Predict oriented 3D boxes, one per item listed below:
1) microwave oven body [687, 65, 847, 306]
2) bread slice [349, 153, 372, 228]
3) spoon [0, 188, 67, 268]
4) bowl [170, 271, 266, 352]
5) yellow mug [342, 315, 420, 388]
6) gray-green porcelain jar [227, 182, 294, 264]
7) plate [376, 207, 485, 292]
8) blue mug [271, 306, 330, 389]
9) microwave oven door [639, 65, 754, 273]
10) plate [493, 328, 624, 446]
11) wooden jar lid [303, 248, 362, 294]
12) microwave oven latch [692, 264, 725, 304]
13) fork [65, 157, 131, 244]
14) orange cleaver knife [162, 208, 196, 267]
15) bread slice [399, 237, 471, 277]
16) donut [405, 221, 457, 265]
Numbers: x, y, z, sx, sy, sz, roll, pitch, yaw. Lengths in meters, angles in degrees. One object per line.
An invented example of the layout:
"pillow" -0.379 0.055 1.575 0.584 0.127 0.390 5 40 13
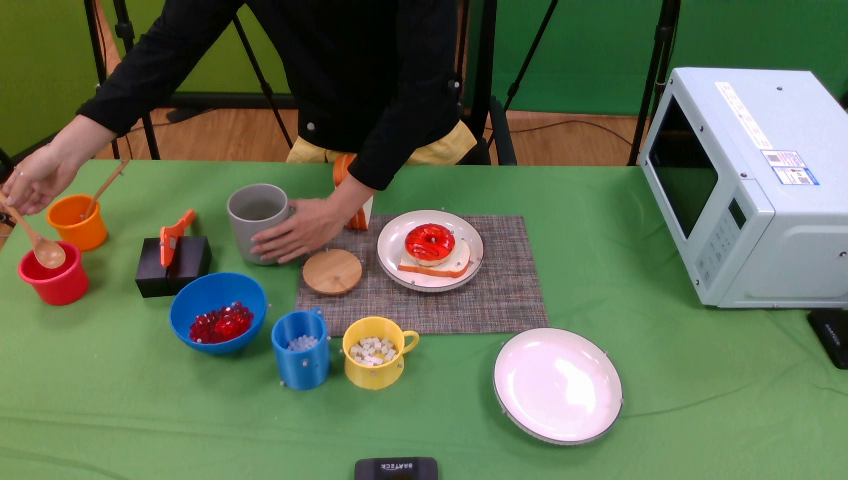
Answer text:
"microwave oven body" 0.669 -0.111 1.176 0.326 0.261 0.439 0 46 -3
"bread slice" -0.126 -0.104 1.207 0.018 0.135 0.106 1 48 6
"spoon" -0.666 -0.035 1.004 0.041 0.021 0.194 -39 102 -20
"bowl" -0.333 0.132 1.006 0.151 0.077 0.150 2 46 -2
"yellow mug" -0.068 0.177 0.990 0.131 0.064 0.099 -15 50 -19
"gray-green porcelain jar" -0.299 -0.027 1.126 0.106 0.127 0.105 2 46 -2
"plate" 0.012 0.020 1.159 0.209 0.038 0.208 2 47 -2
"blue mug" -0.188 0.163 0.969 0.082 0.106 0.116 15 47 10
"microwave oven door" 0.522 -0.147 1.192 0.039 0.245 0.353 0 47 -3
"plate" 0.213 0.236 0.974 0.208 0.039 0.206 2 46 -2
"wooden jar lid" -0.169 0.059 1.122 0.108 0.021 0.107 3 46 -3
"microwave oven latch" 0.522 0.081 1.115 0.030 0.029 0.078 1 46 -2
"fork" -0.608 -0.074 1.132 0.207 0.019 0.028 -52 50 10
"orange cleaver knife" -0.454 -0.010 1.129 0.012 0.077 0.210 -2 17 -5
"bread slice" 0.025 0.025 1.161 0.131 0.019 0.104 7 47 8
"donut" 0.013 0.004 1.136 0.099 0.048 0.098 0 46 0
